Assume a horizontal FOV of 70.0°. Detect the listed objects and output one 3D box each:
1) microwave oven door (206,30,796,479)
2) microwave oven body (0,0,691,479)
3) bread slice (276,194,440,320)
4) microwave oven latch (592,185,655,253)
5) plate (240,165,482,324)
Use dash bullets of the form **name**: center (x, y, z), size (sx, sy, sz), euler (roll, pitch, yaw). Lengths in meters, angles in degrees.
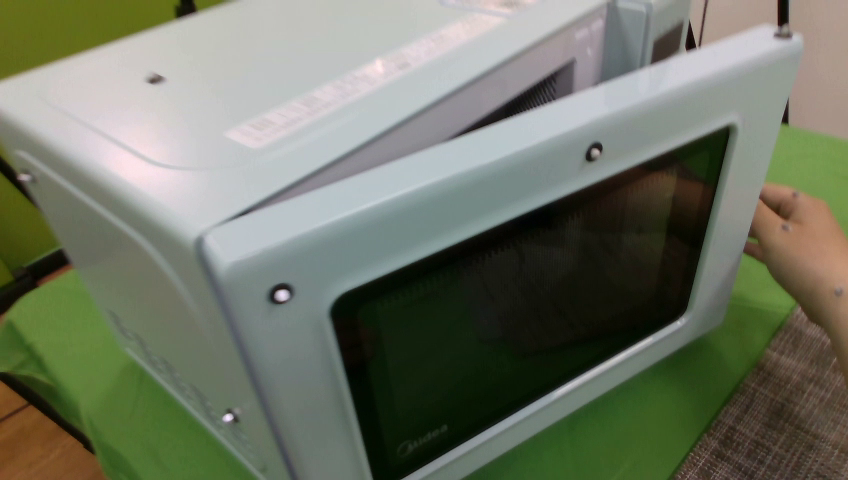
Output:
- **microwave oven door**: center (0.075, 0.032, 0.381), size (0.356, 0.246, 0.039), euler (-23, 41, -21)
- **microwave oven body**: center (-0.038, -0.060, 0.523), size (0.323, 0.262, 0.441), euler (26, 49, 34)
- **bread slice**: center (-0.055, 0.004, 0.536), size (0.131, 0.019, 0.104), euler (-34, 47, -24)
- **microwave oven latch**: center (0.198, -0.021, 0.600), size (0.030, 0.030, 0.079), euler (29, 50, 36)
- **plate**: center (-0.052, 0.002, 0.531), size (0.209, 0.038, 0.207), euler (-4, 37, 4)
